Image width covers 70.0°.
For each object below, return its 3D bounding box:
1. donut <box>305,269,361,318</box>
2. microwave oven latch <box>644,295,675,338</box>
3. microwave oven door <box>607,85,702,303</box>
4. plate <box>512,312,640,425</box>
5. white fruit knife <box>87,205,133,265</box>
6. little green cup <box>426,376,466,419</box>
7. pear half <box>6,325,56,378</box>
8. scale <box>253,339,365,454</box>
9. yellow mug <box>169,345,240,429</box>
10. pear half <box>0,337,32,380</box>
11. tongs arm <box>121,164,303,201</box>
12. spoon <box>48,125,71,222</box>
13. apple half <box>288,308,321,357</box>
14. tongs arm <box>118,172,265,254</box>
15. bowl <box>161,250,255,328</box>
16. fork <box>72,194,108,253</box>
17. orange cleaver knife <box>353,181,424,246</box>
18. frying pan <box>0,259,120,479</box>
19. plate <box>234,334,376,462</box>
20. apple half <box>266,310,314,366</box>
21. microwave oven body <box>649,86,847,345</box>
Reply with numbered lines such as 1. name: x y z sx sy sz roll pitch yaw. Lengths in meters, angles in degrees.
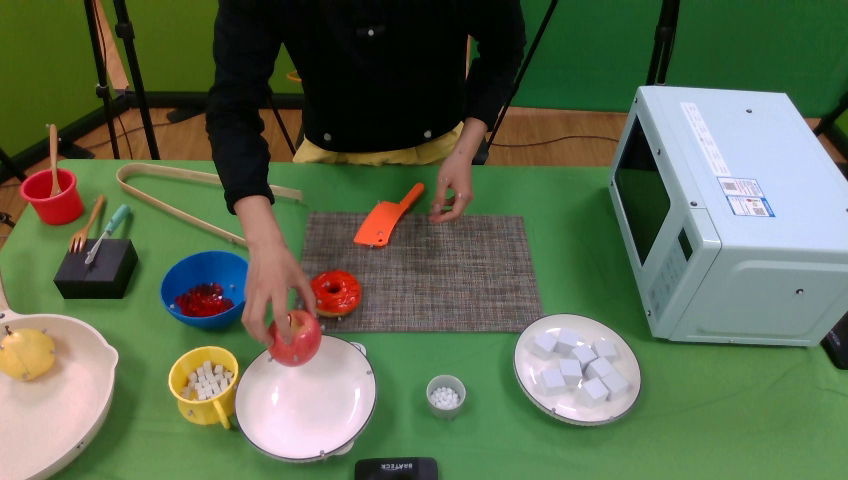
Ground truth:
1. donut: -0.161 0.095 1.075 0.099 0.048 0.098 4 45 -4
2. microwave oven latch: 0.410 0.133 1.062 0.030 0.029 0.078 1 45 -2
3. microwave oven door: 0.423 -0.094 1.140 0.039 0.245 0.353 2 46 -1
4. plate: 0.246 0.213 0.999 0.208 0.039 0.206 2 46 -2
5. white fruit knife: -0.584 -0.013 1.129 0.016 0.027 0.206 0 31 -5
6. little green cup: 0.033 0.248 0.950 0.061 0.039 0.061 2 46 -2
7. pear half: -0.608 0.158 0.935 0.076 0.110 0.056 31 51 20
8. scale: -0.175 0.236 0.951 0.149 0.032 0.199 4 46 0
9. yellow mug: -0.323 0.230 0.922 0.100 0.064 0.130 -24 53 -25
10. pear half: -0.631 0.184 0.921 0.070 0.088 0.031 29 49 19
11. tongs arm: -0.444 -0.114 1.267 0.384 0.026 0.050 12 50 8
12. spoon: -0.718 -0.132 1.188 0.041 0.021 0.193 -3 90 -7
13. apple half: -0.175 0.136 0.914 0.033 0.081 0.081 -28 54 -31
14. tongs arm: -0.473 -0.054 1.211 0.386 0.028 0.028 23 56 18
15. bowl: -0.362 0.098 1.040 0.151 0.077 0.150 2 45 -2
16. fork: -0.634 -0.036 1.158 0.028 0.019 0.206 -7 32 -9
17. orange cleaver knife: -0.069 -0.059 1.245 0.077 0.012 0.210 18 50 21
18. frying pan: -0.647 0.164 0.936 0.307 0.103 0.485 -19 58 -22
19. plate: -0.174 0.235 0.907 0.209 0.038 0.208 2 46 -1
20. apple half: -0.204 0.151 0.893 0.053 0.075 0.080 -27 55 -32
21. microwave oven body: 0.568 -0.053 1.118 0.326 0.261 0.439 2 45 -1
